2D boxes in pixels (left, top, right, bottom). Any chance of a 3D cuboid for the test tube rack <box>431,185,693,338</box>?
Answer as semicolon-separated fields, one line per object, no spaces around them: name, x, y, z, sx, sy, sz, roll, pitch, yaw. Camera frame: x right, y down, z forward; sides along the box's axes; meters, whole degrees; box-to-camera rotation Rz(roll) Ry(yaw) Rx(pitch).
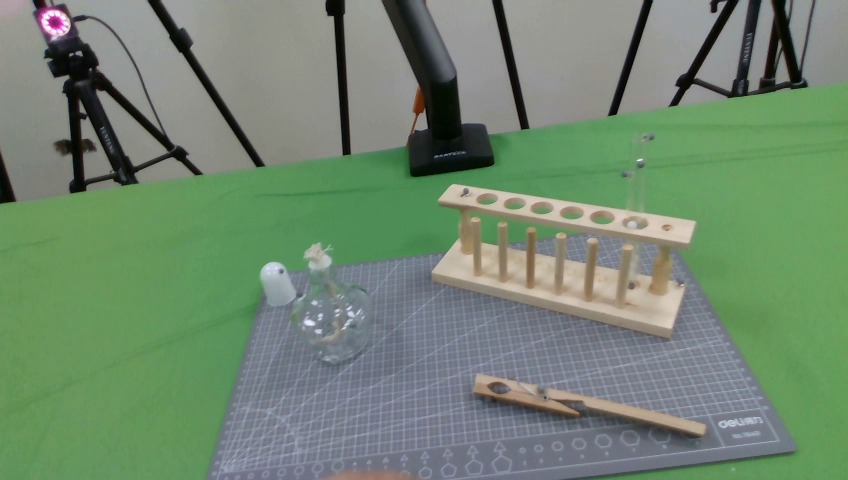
test tube rack;0.123;0.014;0.591;0.241;0.086;0.066;12;41;27

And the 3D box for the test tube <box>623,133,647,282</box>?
test tube;0.188;-0.024;0.543;0.017;0.151;0.017;-7;32;5

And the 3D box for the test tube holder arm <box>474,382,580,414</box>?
test tube holder arm;0.085;0.130;0.498;0.087;0.015;0.010;6;72;19

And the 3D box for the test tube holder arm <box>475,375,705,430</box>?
test tube holder arm;0.128;0.129;0.485;0.177;0.015;0.013;5;72;19

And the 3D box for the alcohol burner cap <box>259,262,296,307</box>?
alcohol burner cap;-0.159;0.045;0.651;0.034;0.048;0.033;-5;36;4

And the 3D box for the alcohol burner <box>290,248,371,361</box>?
alcohol burner;-0.089;0.054;0.560;0.078;0.120;0.077;-5;37;4
